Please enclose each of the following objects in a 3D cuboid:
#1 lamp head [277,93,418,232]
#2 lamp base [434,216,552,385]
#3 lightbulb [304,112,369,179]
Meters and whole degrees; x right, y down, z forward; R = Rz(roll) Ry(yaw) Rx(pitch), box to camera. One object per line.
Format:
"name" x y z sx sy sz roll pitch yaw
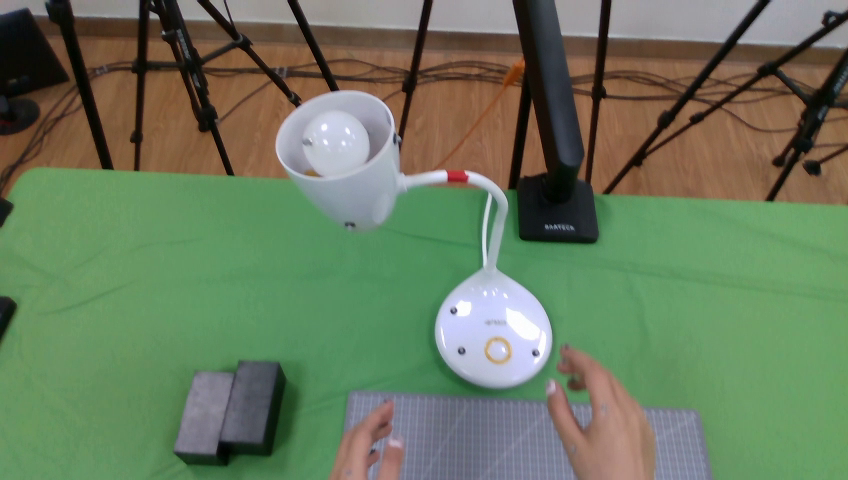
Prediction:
"lamp head" -0.067 -0.065 0.596 0.112 0.124 0.111 -8 55 12
"lamp base" 0.092 0.067 0.770 0.161 0.182 0.177 -9 53 -7
"lightbulb" -0.076 -0.074 0.574 0.059 0.108 0.059 -4 60 7
